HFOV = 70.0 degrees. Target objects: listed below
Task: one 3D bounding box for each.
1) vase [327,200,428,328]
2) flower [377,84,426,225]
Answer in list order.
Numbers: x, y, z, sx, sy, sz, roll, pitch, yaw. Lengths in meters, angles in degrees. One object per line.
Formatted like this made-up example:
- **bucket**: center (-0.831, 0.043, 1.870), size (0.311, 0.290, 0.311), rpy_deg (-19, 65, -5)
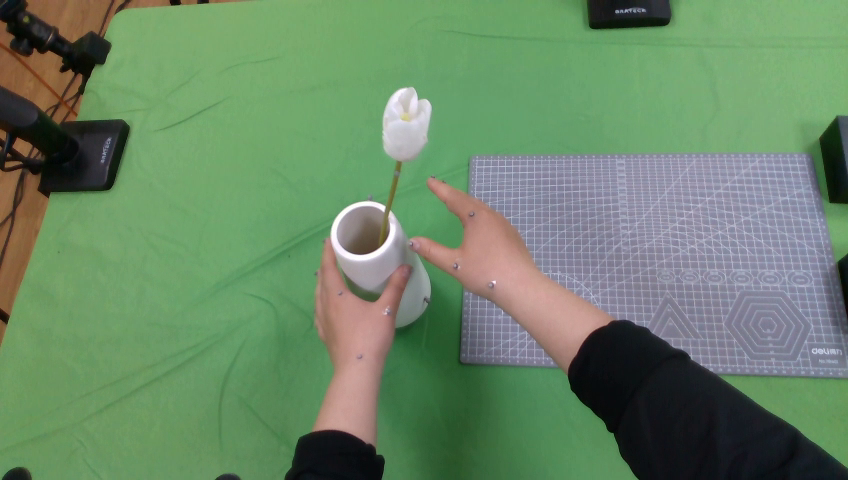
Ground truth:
- **vase**: center (-0.051, 0.031, 0.694), size (0.098, 0.201, 0.097), rpy_deg (-2, 65, 5)
- **flower**: center (-0.044, -0.012, 0.623), size (0.038, 0.364, 0.043), rpy_deg (-4, 57, -14)
